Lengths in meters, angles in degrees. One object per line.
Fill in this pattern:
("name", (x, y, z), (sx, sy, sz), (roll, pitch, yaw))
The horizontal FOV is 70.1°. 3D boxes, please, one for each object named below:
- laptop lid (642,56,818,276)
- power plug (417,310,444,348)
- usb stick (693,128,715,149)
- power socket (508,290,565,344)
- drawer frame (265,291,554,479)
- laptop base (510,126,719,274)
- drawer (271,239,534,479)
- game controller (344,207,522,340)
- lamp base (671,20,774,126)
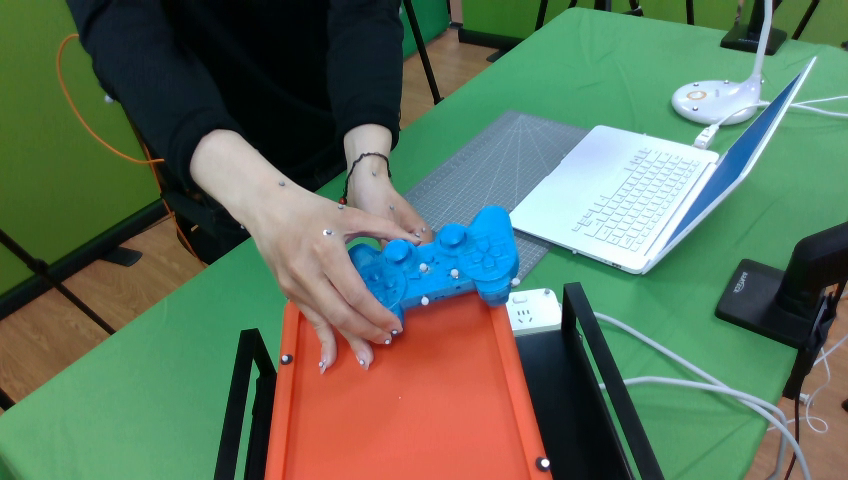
("laptop lid", (0.445, -0.108, 0.876), (0.013, 0.241, 0.357), (39, 53, 12))
("power plug", (0.007, 0.123, 0.784), (0.035, 0.053, 0.072), (-1, 42, 8))
("usb stick", (0.501, -0.175, 1.091), (0.021, 0.027, 0.059), (29, 55, 28))
("power socket", (0.081, 0.112, 0.822), (0.227, 0.033, 0.072), (-7, 40, 0))
("drawer frame", (-0.016, 0.134, 0.494), (0.202, 0.083, 0.212), (-8, 41, -2))
("laptop base", (0.326, -0.084, 1.027), (0.233, 0.023, 0.355), (21, 48, 32))
("drawer", (-0.022, 0.104, 0.527), (0.195, 0.073, 0.210), (-7, 43, -1))
("game controller", (0.007, 0.022, 0.511), (0.155, 0.052, 0.096), (-16, 59, 3))
("lamp base", (0.581, -0.332, 1.153), (0.179, 0.181, 0.160), (2, 42, 7))
